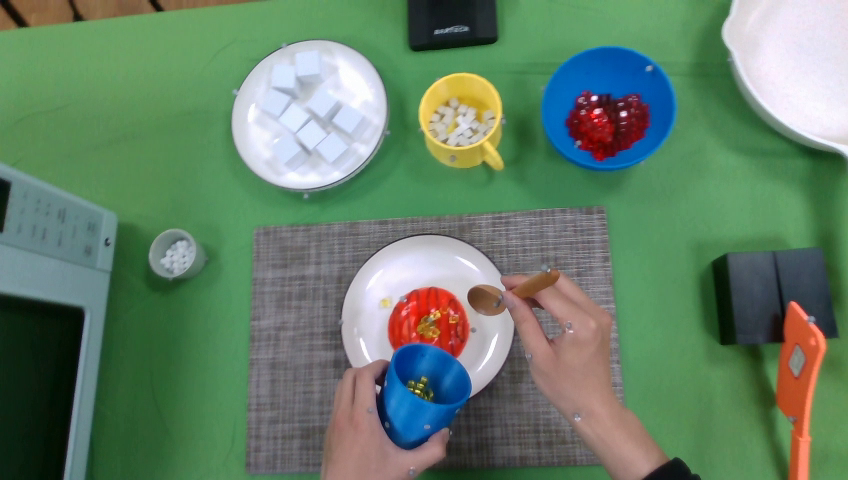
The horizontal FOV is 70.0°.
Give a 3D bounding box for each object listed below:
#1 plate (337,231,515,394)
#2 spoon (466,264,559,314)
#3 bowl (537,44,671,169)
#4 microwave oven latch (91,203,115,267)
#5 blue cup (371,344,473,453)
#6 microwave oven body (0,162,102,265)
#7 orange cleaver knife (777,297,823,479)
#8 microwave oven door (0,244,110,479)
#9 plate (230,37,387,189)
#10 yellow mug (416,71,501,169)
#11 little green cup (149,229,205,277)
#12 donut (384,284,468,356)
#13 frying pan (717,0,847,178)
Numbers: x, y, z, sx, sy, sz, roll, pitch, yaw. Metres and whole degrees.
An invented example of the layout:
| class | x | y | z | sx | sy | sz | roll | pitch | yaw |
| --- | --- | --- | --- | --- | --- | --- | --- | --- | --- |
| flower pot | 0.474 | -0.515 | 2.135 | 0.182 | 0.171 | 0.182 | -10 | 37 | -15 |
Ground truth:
| class | x | y | z | sx | sy | sz | roll | pitch | yaw |
| --- | --- | --- | --- | --- | --- | --- | --- | --- | --- |
| plate | 0.003 | 0.094 | 0.722 | 0.209 | 0.038 | 0.208 | -1 | 79 | 7 |
| spoon | 0.077 | 0.046 | 0.543 | 0.041 | 0.194 | 0.021 | 40 | 75 | -2 |
| bowl | 0.211 | -0.148 | 0.731 | 0.151 | 0.077 | 0.150 | -1 | 79 | 7 |
| microwave oven latch | -0.419 | -0.006 | 0.777 | 0.030 | 0.029 | 0.079 | 2 | 79 | 7 |
| blue cup | -0.010 | 0.167 | 0.609 | 0.093 | 0.100 | 0.091 | 15 | 46 | -15 |
| microwave oven body | -0.582 | 0.147 | 0.666 | 0.326 | 0.261 | 0.439 | 0 | 79 | 6 |
| orange cleaver knife | 0.393 | 0.167 | 0.643 | 0.012 | 0.077 | 0.212 | -4 | 107 | 7 |
| microwave oven door | -0.439 | 0.187 | 0.636 | 0.039 | 0.245 | 0.354 | 0 | 78 | 7 |
| plate | -0.148 | -0.163 | 0.797 | 0.207 | 0.039 | 0.206 | -1 | 78 | 7 |
| yellow mug | 0.053 | -0.139 | 0.754 | 0.100 | 0.064 | 0.130 | -40 | 77 | -2 |
| little green cup | -0.314 | 0.019 | 0.778 | 0.061 | 0.039 | 0.061 | -1 | 80 | 6 |
| donut | 0.003 | 0.100 | 0.710 | 0.099 | 0.048 | 0.098 | -1 | 82 | 7 |
| frying pan | 0.490 | -0.138 | 0.682 | 0.306 | 0.103 | 0.484 | 2 | 71 | 8 |
